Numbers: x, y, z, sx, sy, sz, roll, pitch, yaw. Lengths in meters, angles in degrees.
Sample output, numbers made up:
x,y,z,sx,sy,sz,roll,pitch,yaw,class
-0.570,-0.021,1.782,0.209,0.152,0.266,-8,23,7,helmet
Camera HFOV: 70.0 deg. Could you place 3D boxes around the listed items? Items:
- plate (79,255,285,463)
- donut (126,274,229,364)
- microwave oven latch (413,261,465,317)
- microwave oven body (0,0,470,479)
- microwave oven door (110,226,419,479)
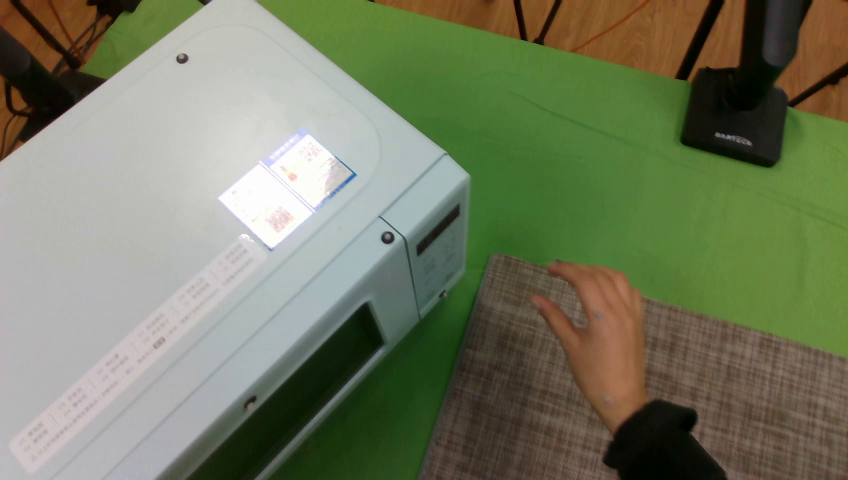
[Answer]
x,y,z,sx,sy,sz,roll,pitch,yaw,class
-0.234,0.115,0.601,0.209,0.038,0.207,-4,62,9,plate
-0.251,0.081,0.622,0.099,0.048,0.098,5,55,-7,donut
0.012,0.048,0.682,0.030,0.030,0.079,41,75,16,microwave oven latch
-0.221,0.038,0.588,0.324,0.262,0.441,41,75,16,microwave oven body
-0.144,0.156,0.532,0.039,0.245,0.355,41,74,17,microwave oven door
